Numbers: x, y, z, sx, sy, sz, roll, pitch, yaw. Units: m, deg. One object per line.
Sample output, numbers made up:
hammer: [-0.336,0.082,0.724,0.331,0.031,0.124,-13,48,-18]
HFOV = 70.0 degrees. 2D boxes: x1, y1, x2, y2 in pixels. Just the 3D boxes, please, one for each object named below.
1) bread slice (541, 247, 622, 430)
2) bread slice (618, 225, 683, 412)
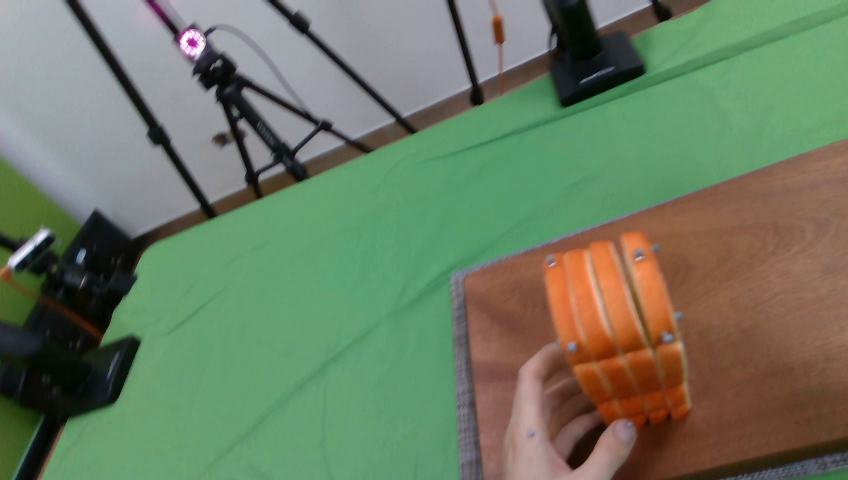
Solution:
bread slice: [0.123,0.068,0.473,0.018,0.136,0.106,-19,40,19]
bread slice: [0.170,0.054,0.456,0.019,0.133,0.104,-14,45,14]
